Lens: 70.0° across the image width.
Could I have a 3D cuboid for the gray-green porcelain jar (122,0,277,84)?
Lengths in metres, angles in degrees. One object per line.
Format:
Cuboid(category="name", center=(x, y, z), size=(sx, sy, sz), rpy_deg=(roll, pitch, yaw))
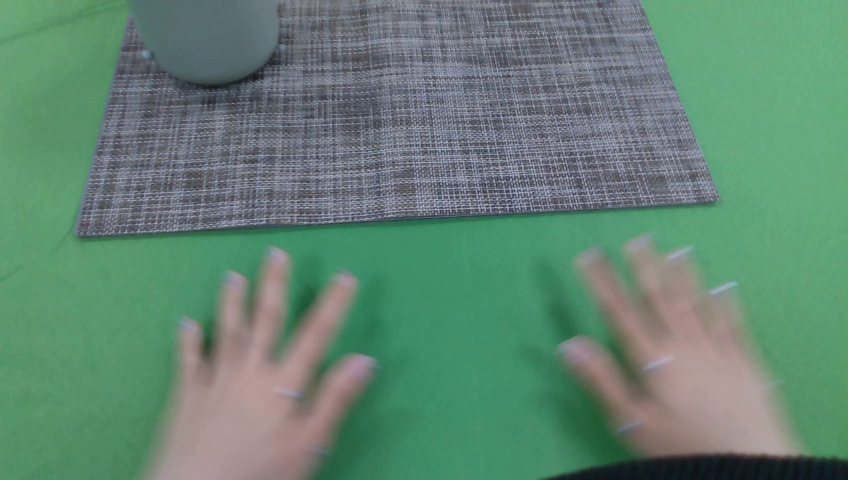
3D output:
Cuboid(category="gray-green porcelain jar", center=(-0.168, -0.189, 0.446), size=(0.106, 0.127, 0.105), rpy_deg=(1, 59, -1))
